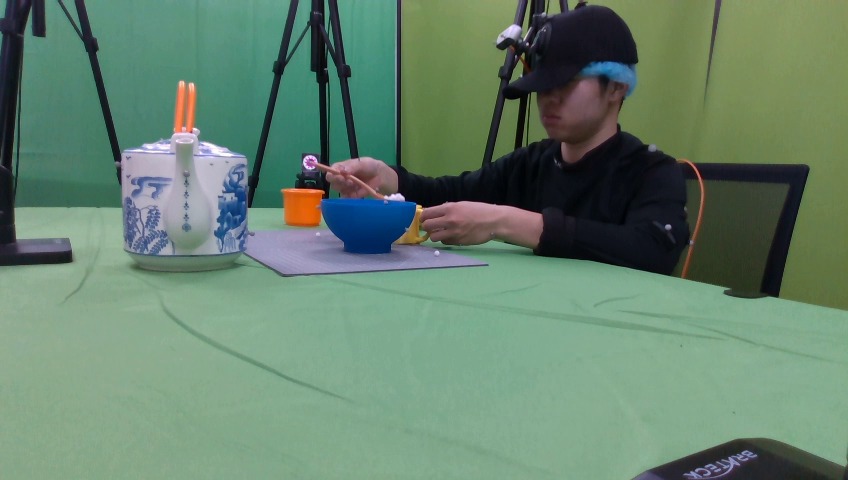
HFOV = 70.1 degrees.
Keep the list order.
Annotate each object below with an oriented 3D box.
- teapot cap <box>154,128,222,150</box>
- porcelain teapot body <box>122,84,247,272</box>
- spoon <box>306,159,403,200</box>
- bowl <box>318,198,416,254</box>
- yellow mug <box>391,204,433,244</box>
[{"bbox_3d":[-0.294,-0.117,0.754,0.085,0.044,0.085,4,9,0],"label":"teapot cap"},{"bbox_3d":[-0.286,-0.075,0.733,0.146,0.225,0.204,0,8,-24],"label":"porcelain teapot body"},{"bbox_3d":[-0.125,-0.106,1.079,0.193,0.021,0.042,28,11,11],"label":"spoon"},{"bbox_3d":[-0.089,-0.022,0.941,0.151,0.077,0.151,2,7,0],"label":"bowl"},{"bbox_3d":[-0.042,-0.030,1.070,0.130,0.064,0.100,7,9,27],"label":"yellow mug"}]
